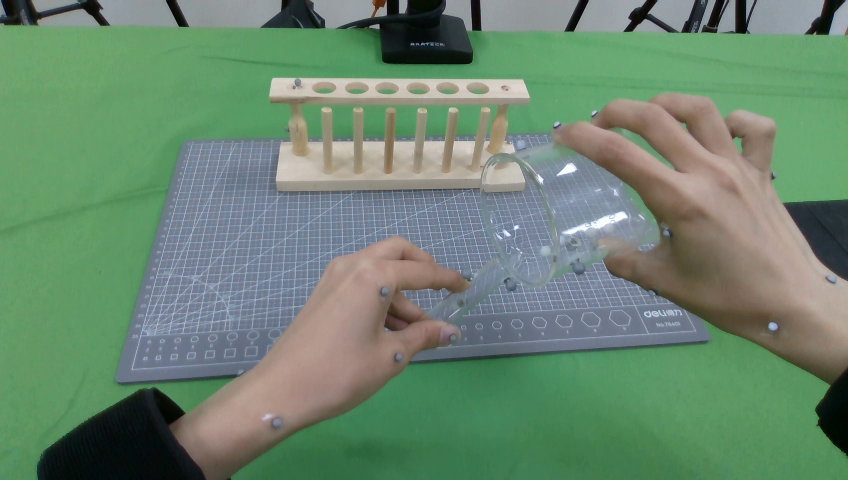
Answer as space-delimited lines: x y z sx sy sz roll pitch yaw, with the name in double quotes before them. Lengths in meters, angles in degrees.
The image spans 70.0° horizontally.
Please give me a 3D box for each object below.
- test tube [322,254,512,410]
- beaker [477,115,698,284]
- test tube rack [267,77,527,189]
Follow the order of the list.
"test tube" -0.008 0.059 0.371 0.150 0.017 0.017 -40 46 16
"beaker" 0.090 -0.024 0.336 0.100 0.084 0.073 -18 59 -18
"test tube rack" -0.025 -0.104 0.591 0.243 0.086 0.066 -1 44 -7
